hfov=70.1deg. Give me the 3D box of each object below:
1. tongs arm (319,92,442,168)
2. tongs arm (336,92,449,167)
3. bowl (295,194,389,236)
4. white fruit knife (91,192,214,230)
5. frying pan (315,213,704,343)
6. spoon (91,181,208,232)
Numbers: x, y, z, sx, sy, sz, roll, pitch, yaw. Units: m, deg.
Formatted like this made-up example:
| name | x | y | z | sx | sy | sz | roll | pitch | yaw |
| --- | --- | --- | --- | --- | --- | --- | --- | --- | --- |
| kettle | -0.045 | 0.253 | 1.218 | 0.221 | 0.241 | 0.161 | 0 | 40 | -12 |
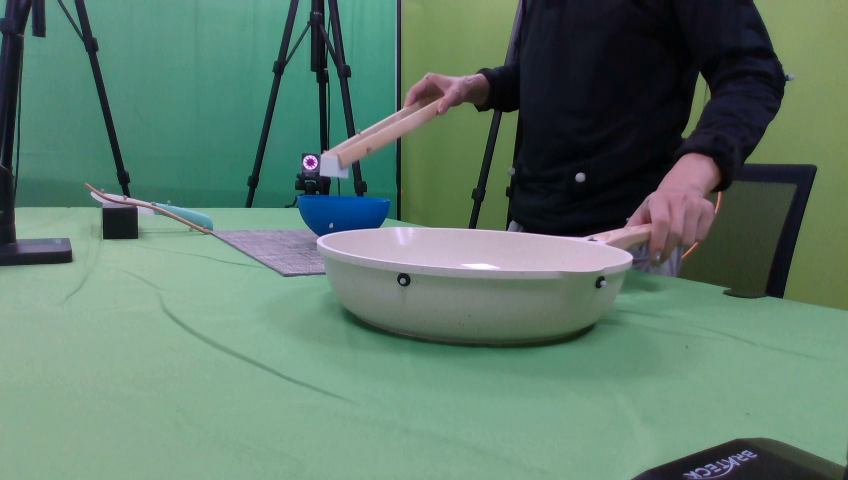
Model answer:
| name | x | y | z | sx | sy | sz | roll | pitch | yaw |
| --- | --- | --- | --- | --- | --- | --- | --- | --- | --- |
| tongs arm | -0.060 | -0.202 | 1.067 | 0.050 | 0.026 | 0.385 | -2 | 24 | 27 |
| tongs arm | -0.040 | -0.202 | 1.055 | 0.028 | 0.028 | 0.388 | -4 | 23 | 32 |
| bowl | -0.132 | -0.032 | 0.980 | 0.151 | 0.077 | 0.151 | 2 | 7 | 0 |
| white fruit knife | -0.477 | -0.055 | 1.077 | 0.208 | 0.027 | 0.016 | 15 | -5 | -30 |
| frying pan | 0.133 | 0.014 | 0.629 | 0.490 | 0.102 | 0.305 | -11 | 14 | -29 |
| spoon | -0.461 | -0.053 | 1.023 | 0.195 | 0.021 | 0.041 | 21 | 22 | -24 |
